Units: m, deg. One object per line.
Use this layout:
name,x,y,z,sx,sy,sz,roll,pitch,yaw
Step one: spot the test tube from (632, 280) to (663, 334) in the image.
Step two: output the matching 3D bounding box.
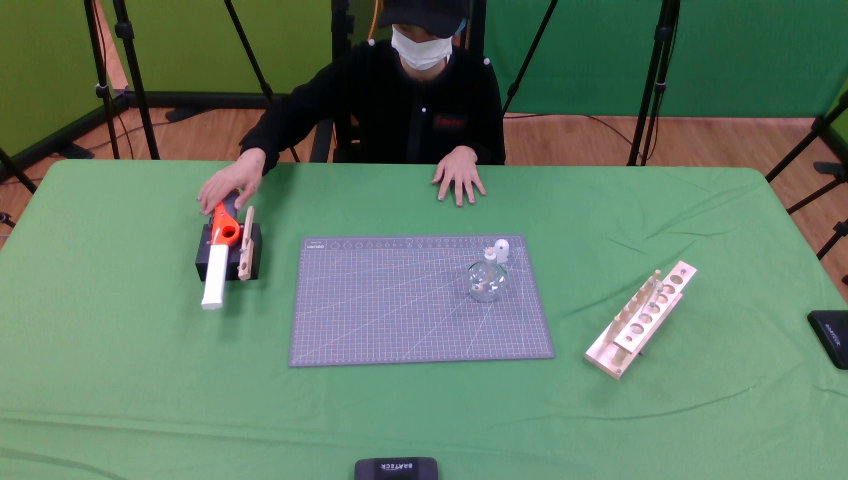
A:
test tube,0.363,0.121,0.997,0.017,0.151,0.017,2,44,-1

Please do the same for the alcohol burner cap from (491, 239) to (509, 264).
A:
alcohol burner cap,0.150,0.020,1.174,0.034,0.048,0.033,2,46,-2

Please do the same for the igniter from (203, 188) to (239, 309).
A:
igniter,-0.366,0.006,1.095,0.057,0.025,0.274,-1,49,-8

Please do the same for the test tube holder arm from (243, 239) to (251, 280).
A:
test tube holder arm,-0.315,0.034,1.077,0.010,0.015,0.087,-4,48,-9

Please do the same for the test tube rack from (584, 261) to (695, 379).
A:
test tube rack,0.380,0.127,1.062,0.066,0.085,0.242,34,53,26

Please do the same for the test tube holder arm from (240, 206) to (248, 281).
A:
test tube holder arm,-0.328,0.002,1.106,0.013,0.015,0.177,-6,48,-10

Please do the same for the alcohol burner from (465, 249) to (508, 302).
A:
alcohol burner,0.114,0.057,1.085,0.078,0.120,0.077,2,48,-2
